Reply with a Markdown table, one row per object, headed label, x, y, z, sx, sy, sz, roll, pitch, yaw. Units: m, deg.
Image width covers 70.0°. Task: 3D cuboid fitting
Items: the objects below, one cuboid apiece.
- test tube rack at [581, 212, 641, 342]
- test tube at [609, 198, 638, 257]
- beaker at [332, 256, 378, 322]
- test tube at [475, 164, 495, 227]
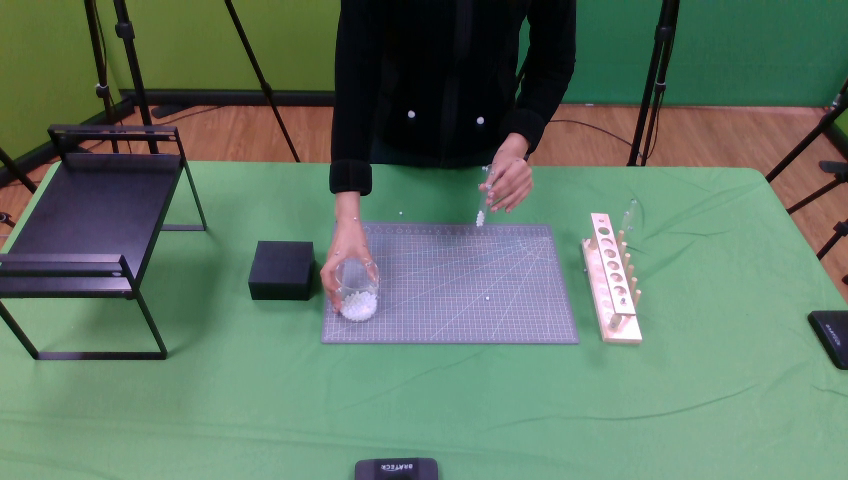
| label | x | y | z | sx | sy | sz | roll | pitch | yaw |
| --- | --- | --- | --- | --- | --- | --- | --- | --- | --- |
| test tube rack | 0.351 | 0.063 | 1.120 | 0.067 | 0.085 | 0.241 | 3 | 46 | -1 |
| test tube | 0.375 | -0.020 | 1.141 | 0.017 | 0.151 | 0.017 | 2 | 45 | -2 |
| beaker | -0.114 | 0.089 | 1.047 | 0.083 | 0.101 | 0.074 | 30 | 52 | 21 |
| test tube | 0.107 | -0.075 | 1.069 | 0.017 | 0.151 | 0.017 | 3 | 50 | -3 |
